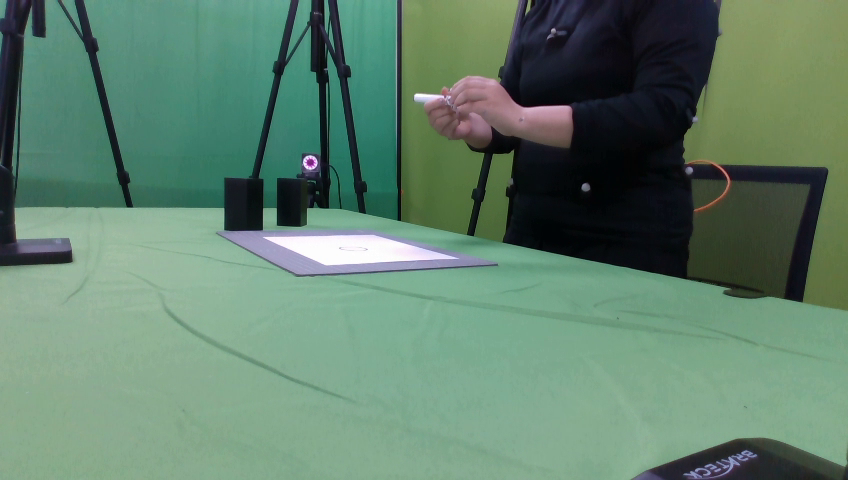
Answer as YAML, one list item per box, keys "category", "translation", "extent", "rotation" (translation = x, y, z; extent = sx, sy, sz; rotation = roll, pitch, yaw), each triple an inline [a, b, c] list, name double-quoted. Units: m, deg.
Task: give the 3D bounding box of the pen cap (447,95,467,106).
- category: "pen cap"
  translation: [0.057, -0.241, 1.043]
  extent: [0.017, 0.017, 0.038]
  rotation: [-3, 6, -38]

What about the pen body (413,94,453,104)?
- category: "pen body"
  translation: [0.024, -0.255, 1.094]
  extent: [0.017, 0.017, 0.143]
  rotation: [-2, 12, -33]
